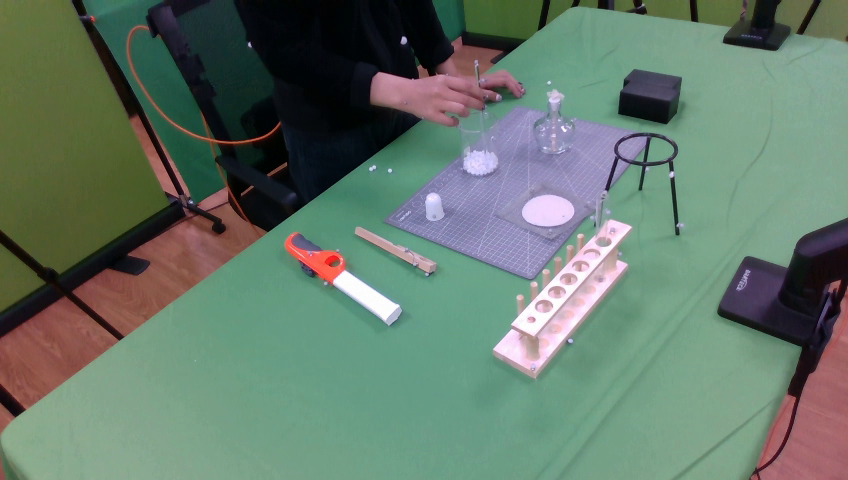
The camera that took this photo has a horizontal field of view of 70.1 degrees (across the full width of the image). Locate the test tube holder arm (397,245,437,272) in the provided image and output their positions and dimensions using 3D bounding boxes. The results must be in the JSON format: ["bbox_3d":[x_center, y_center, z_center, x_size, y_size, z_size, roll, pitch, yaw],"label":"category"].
[{"bbox_3d":[-0.016,0.029,0.958,0.087,0.015,0.010,25,16,35],"label":"test tube holder arm"}]

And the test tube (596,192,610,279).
[{"bbox_3d":[0.240,-0.002,0.814,0.017,0.151,0.017,-7,42,7],"label":"test tube"}]

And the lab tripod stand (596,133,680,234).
[{"bbox_3d":[0.338,-0.091,0.940,0.148,0.132,0.147,-7,39,6],"label":"lab tripod stand"}]

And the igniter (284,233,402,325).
[{"bbox_3d":[-0.136,0.054,0.942,0.274,0.025,0.057,30,63,37],"label":"igniter"}]

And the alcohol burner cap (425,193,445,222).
[{"bbox_3d":[0.017,-0.058,1.030,0.034,0.048,0.033,-5,40,5],"label":"alcohol burner cap"}]

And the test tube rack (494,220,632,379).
[{"bbox_3d":[0.191,0.068,0.818,0.066,0.085,0.243,25,51,35],"label":"test tube rack"}]

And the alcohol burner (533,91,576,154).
[{"bbox_3d":[0.243,-0.222,1.124,0.078,0.119,0.077,-4,39,4],"label":"alcohol burner"}]

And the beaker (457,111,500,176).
[{"bbox_3d":[0.104,-0.175,1.108,0.073,0.101,0.084,16,46,27],"label":"beaker"}]

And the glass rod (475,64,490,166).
[{"bbox_3d":[0.104,-0.213,1.058,0.008,0.201,0.008,-7,39,6],"label":"glass rod"}]

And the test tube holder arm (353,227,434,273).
[{"bbox_3d":[-0.053,0.014,0.979,0.177,0.015,0.013,25,16,34],"label":"test tube holder arm"}]

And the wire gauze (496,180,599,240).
[{"bbox_3d":[0.206,-0.050,1.012,0.125,0.011,0.120,-34,45,-26],"label":"wire gauze"}]
